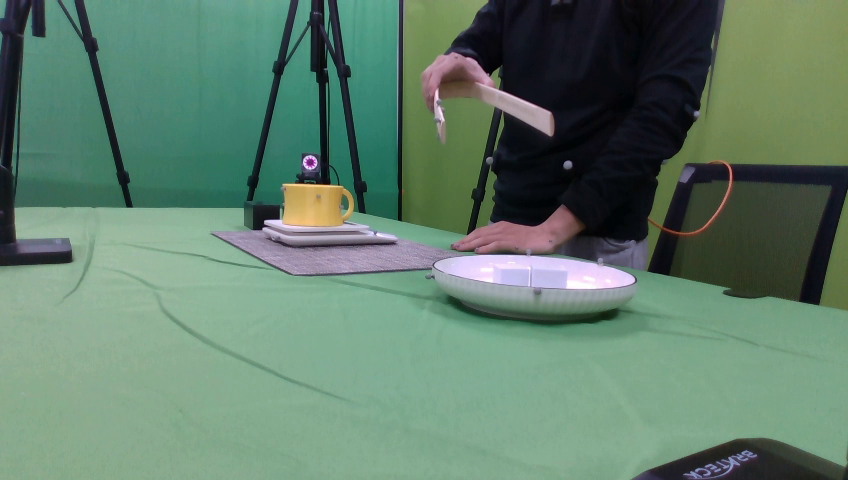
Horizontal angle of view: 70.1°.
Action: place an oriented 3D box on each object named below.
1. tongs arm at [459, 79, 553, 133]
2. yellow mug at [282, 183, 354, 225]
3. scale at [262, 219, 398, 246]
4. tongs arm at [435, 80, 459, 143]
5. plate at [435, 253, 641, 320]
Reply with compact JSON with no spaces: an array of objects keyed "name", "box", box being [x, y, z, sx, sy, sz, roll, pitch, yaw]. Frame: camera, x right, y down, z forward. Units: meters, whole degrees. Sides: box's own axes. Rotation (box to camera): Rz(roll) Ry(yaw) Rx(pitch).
[{"name":"tongs arm","box":[0.098,-0.185,0.799,0.028,0.028,0.386,-13,21,-5]},{"name":"yellow mug","box":[-0.172,-0.061,1.010,0.131,0.064,0.099,-2,8,-42]},{"name":"scale","box":[-0.160,-0.016,1.028,0.202,0.031,0.148,-1,9,-31]},{"name":"tongs arm","box":[0.037,-0.178,0.797,0.051,0.026,0.384,-7,20,1]},{"name":"plate","box":[0.114,0.047,0.625,0.208,0.039,0.207,2,7,0]}]
